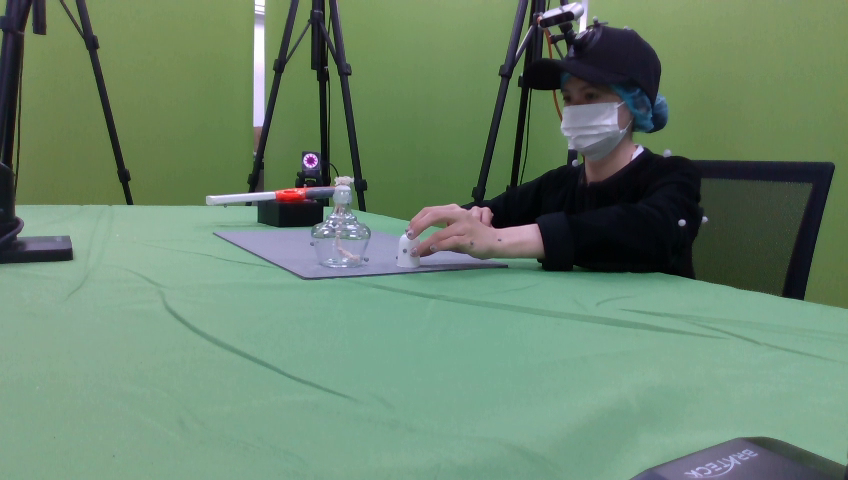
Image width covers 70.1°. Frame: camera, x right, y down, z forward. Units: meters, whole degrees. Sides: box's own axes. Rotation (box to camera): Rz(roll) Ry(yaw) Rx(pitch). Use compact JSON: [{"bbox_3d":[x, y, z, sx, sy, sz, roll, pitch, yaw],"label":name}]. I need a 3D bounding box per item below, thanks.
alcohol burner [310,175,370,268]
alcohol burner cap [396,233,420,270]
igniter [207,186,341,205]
[{"bbox_3d":[-0.107,-0.024,0.778,0.078,0.119,0.078,3,5,0],"label":"alcohol burner"},{"bbox_3d":[-0.020,0.014,0.795,0.034,0.048,0.034,2,7,0],"label":"alcohol burner cap"},{"bbox_3d":[-0.300,-0.091,1.241,0.278,0.025,0.057,-8,11,-35],"label":"igniter"}]
